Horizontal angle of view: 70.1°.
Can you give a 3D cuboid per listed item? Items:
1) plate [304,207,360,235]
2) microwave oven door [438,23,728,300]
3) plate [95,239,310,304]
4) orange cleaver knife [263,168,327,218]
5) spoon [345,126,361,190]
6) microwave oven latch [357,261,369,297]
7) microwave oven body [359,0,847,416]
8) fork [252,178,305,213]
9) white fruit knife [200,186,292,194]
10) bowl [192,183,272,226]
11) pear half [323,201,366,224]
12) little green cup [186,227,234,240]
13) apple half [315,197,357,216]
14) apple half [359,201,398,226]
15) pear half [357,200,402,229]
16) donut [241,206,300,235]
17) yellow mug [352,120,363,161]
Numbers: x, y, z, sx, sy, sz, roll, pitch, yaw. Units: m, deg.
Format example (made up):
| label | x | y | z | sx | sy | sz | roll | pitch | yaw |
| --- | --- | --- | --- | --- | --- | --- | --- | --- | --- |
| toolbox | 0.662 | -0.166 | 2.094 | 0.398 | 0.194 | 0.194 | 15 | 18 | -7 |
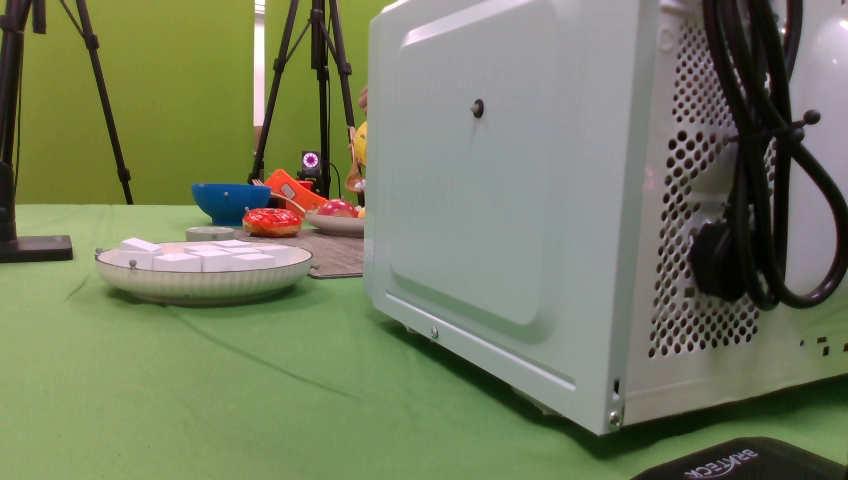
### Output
| label | x | y | z | sx | sy | sz | roll | pitch | yaw |
| --- | --- | --- | --- | --- | --- | --- | --- | --- | --- |
| plate | -0.123 | -0.037 | 1.149 | 0.209 | 0.038 | 0.209 | 2 | 7 | 0 |
| microwave oven door | 0.181 | -0.072 | 0.621 | 0.358 | 0.243 | 0.039 | -2 | 8 | -29 |
| plate | -0.224 | 0.031 | 0.629 | 0.208 | 0.039 | 0.207 | 3 | 8 | 0 |
| orange cleaver knife | -0.262 | -0.088 | 1.353 | 0.211 | 0.077 | 0.012 | 28 | 13 | -1 |
| spoon | -0.144 | -0.171 | 1.245 | 0.042 | 0.193 | 0.021 | 3 | -37 | -13 |
| microwave oven latch | -0.019 | 0.033 | 0.530 | 0.079 | 0.029 | 0.030 | -1 | 7 | -26 |
| microwave oven body | 0.211 | -0.047 | 0.474 | 0.444 | 0.260 | 0.324 | -1 | 7 | -28 |
| fork | -0.295 | -0.084 | 1.292 | 0.206 | 0.018 | 0.028 | 29 | 10 | 25 |
| white fruit knife | -0.399 | -0.111 | 1.368 | 0.208 | 0.016 | 0.027 | -4 | -19 | -30 |
| bowl | -0.381 | -0.071 | 1.202 | 0.151 | 0.077 | 0.151 | 3 | 7 | 0 |
| pear half | -0.155 | -0.058 | 1.197 | 0.088 | 0.031 | 0.070 | 13 | 31 | -3 |
| little green cup | -0.285 | 0.005 | 0.805 | 0.061 | 0.038 | 0.061 | 2 | 8 | 0 |
| apple half | -0.162 | -0.052 | 1.121 | 0.081 | 0.053 | 0.074 | 4 | 8 | -14 |
| apple half | -0.088 | -0.058 | 1.190 | 0.081 | 0.033 | 0.081 | 10 | 28 | -5 |
| pear half | -0.075 | -0.046 | 1.132 | 0.076 | 0.056 | 0.110 | 12 | 6 | 30 |
| donut | -0.263 | -0.032 | 1.039 | 0.099 | 0.048 | 0.099 | 4 | 10 | 0 |
| yellow mug | -0.073 | -0.183 | 1.074 | 0.100 | 0.131 | 0.063 | -17 | 31 | -18 |
